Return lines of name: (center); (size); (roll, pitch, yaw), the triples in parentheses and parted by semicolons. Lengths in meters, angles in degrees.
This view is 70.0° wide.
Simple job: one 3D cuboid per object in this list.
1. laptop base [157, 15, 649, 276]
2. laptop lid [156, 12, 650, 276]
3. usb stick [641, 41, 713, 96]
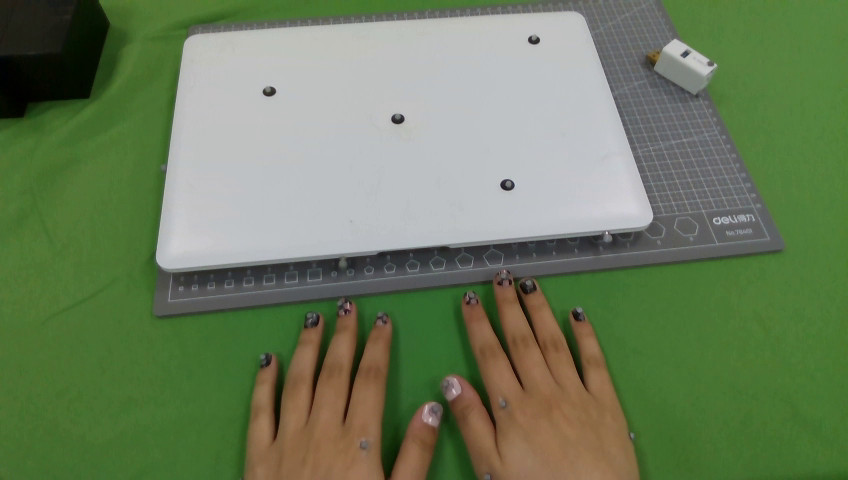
laptop base: (-0.022, -0.087, 0.490); (0.355, 0.023, 0.233); (-5, 61, -4)
laptop lid: (-0.022, -0.091, 0.479); (0.357, 0.013, 0.239); (-4, 60, -3)
usb stick: (0.218, -0.153, 0.527); (0.021, 0.027, 0.058); (-39, 64, -22)
